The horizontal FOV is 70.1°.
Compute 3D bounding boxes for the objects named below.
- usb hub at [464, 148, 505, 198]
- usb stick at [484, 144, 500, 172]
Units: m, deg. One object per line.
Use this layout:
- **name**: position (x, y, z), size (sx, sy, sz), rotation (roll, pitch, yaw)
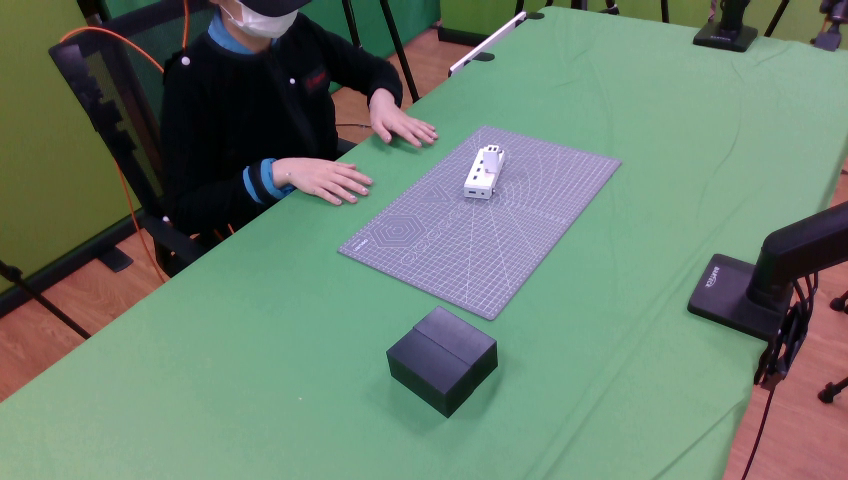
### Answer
- **usb hub**: position (0.110, -0.121, 1.087), size (0.049, 0.025, 0.125), rotation (8, 43, 16)
- **usb stick**: position (0.119, -0.137, 1.059), size (0.027, 0.059, 0.021), rotation (9, 45, 14)
